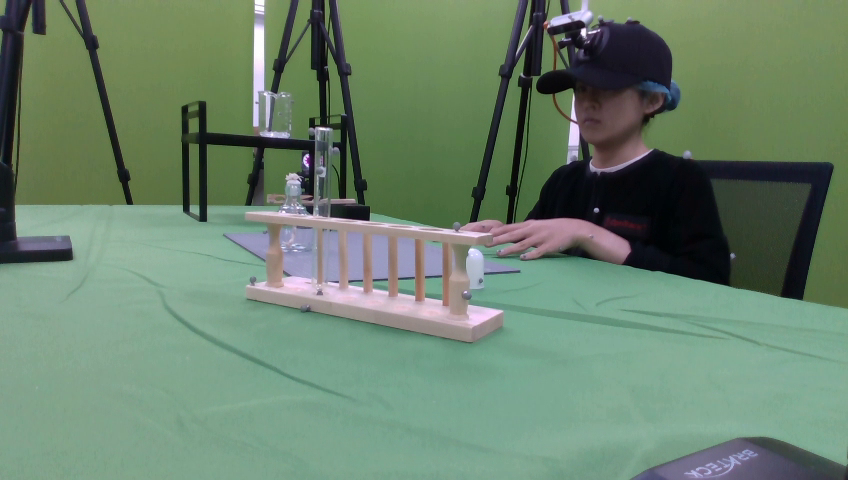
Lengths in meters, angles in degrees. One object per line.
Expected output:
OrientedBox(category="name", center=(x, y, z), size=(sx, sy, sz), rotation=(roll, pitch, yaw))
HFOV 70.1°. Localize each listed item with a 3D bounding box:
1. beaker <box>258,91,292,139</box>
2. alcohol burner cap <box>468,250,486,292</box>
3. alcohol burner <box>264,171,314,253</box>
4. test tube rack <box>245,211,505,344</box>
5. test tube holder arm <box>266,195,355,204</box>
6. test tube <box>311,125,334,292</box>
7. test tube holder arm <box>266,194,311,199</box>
OrientedBox(category="beaker", center=(-0.331, -0.276, 1.343), size=(0.074, 0.100, 0.083), rotation=(0, 8, -20))
OrientedBox(category="alcohol burner cap", center=(0.056, 0.035, 0.690), size=(0.034, 0.048, 0.034), rotation=(2, 7, 0))
OrientedBox(category="alcohol burner", center=(-0.194, -0.042, 0.888), size=(0.078, 0.119, 0.078), rotation=(3, 5, 0))
OrientedBox(category="test tube rack", center=(-0.049, 0.025, 0.547), size=(0.241, 0.085, 0.067), rotation=(7, 8, 29))
OrientedBox(category="test tube holder arm", center=(-0.222, -0.081, 1.196), size=(0.179, 0.013, 0.015), rotation=(-4, 3, -30))
OrientedBox(category="test tube", center=(-0.092, -0.027, 0.543), size=(0.017, 0.150, 0.017), rotation=(4, 10, 0))
OrientedBox(category="test tube holder arm", center=(-0.262, -0.084, 1.173), size=(0.088, 0.010, 0.015), rotation=(-3, 2, -30))
